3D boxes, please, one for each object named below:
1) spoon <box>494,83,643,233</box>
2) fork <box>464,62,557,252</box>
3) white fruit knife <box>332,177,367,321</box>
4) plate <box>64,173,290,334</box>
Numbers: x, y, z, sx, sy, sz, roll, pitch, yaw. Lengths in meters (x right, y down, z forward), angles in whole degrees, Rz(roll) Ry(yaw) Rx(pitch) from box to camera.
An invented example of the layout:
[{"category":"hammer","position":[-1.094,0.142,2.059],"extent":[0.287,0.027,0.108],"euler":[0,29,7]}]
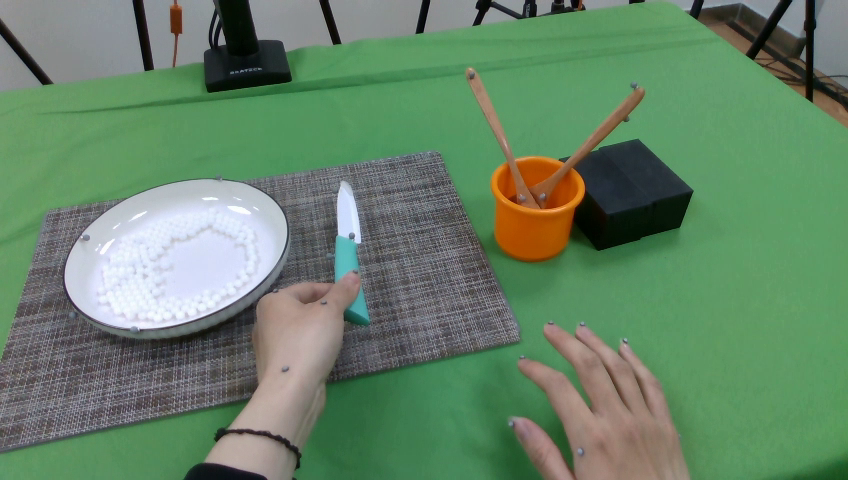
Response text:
[{"category":"spoon","position":[0.143,-0.080,0.602],"extent":[0.041,0.194,0.021],"euler":[46,22,6]},{"category":"fork","position":[0.085,-0.085,0.613],"extent":[0.028,0.018,0.207],"euler":[-23,92,-7]},{"category":"white fruit knife","position":[-0.075,-0.001,0.577],"extent":[0.027,0.016,0.205],"euler":[2,39,-12]},{"category":"plate","position":[-0.234,0.012,0.594],"extent":[0.209,0.038,0.207],"euler":[0,44,1]}]
